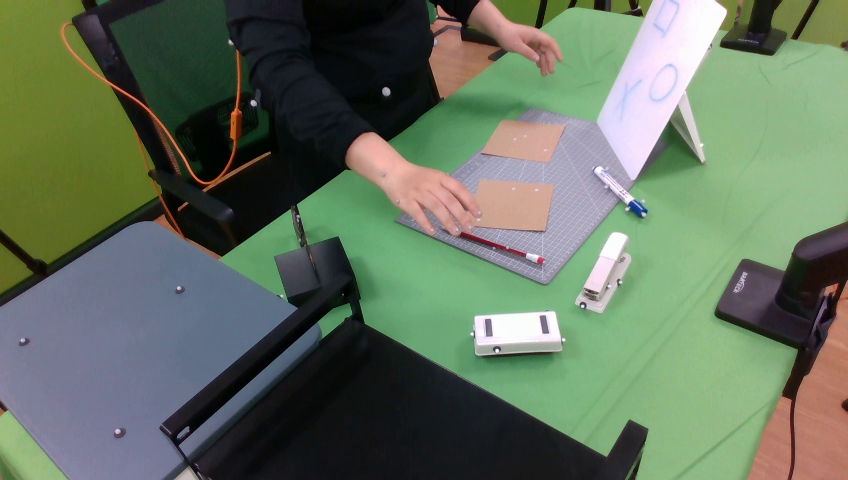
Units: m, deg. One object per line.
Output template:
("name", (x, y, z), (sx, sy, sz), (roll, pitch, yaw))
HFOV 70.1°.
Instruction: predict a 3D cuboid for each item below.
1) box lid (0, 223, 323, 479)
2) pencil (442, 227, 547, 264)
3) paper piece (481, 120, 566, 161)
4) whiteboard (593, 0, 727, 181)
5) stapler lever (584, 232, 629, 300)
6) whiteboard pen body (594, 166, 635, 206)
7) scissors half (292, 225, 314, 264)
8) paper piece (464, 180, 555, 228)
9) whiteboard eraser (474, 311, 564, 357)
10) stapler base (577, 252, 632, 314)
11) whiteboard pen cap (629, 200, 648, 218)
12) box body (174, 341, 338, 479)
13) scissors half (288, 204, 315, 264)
("box lid", (-0.318, 0.109, 0.671), (0.368, 0.015, 0.264), (24, 49, 31))
("pencil", (0.106, 0.005, 0.959), (0.192, 0.012, 0.012), (19, 47, 31))
("paper piece", (0.197, -0.199, 1.188), (0.135, 0.004, 0.135), (11, 44, 22))
("whiteboard", (0.453, -0.272, 1.056), (0.144, 0.305, 0.216), (9, 38, -12))
("stapler lever", (0.260, 0.034, 0.858), (0.026, 0.040, 0.118), (16, 46, 30))
("whiteboard pen body", (0.330, -0.085, 1.027), (0.017, 0.017, 0.139), (-17, 42, -10))
("scissors half", (-0.188, 0.007, 0.954), (0.013, 0.040, 0.174), (-22, 22, -12))
("paper piece", (0.149, -0.062, 1.034), (0.137, 0.009, 0.136), (5, 37, 17))
("whiteboard eraser", (0.123, 0.125, 0.793), (0.113, 0.042, 0.055), (-5, 39, 3))
("stapler base", (0.264, 0.051, 0.875), (0.041, 0.024, 0.131), (16, 47, 30))
("whiteboard pen cap", (0.348, -0.052, 0.983), (0.018, 0.018, 0.033), (-18, 42, -12))
("box body", (-0.311, 0.165, 0.719), (0.361, 0.161, 0.255), (23, 49, 32))
("scissors half", (-0.191, -0.010, 0.944), (0.013, 0.040, 0.173), (-18, 38, -15))
